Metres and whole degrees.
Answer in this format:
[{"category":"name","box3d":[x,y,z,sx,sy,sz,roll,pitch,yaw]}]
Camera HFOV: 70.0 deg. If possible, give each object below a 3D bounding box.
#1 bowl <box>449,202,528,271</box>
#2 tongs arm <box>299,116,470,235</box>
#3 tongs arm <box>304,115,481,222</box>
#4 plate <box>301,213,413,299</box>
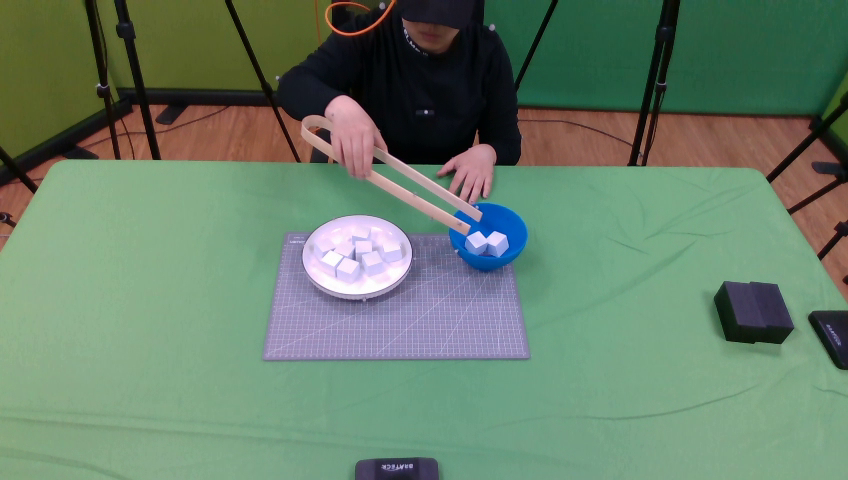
[{"category":"bowl","box3d":[0.118,0.006,1.160,0.151,0.077,0.150,2,46,-2]},{"category":"tongs arm","box3d":[-0.078,-0.121,1.116,0.384,0.026,0.050,29,47,9]},{"category":"tongs arm","box3d":[-0.063,-0.137,1.135,0.387,0.028,0.028,31,51,11]},{"category":"plate","box3d":[-0.124,0.033,1.143,0.208,0.039,0.206,2,46,-2]}]
